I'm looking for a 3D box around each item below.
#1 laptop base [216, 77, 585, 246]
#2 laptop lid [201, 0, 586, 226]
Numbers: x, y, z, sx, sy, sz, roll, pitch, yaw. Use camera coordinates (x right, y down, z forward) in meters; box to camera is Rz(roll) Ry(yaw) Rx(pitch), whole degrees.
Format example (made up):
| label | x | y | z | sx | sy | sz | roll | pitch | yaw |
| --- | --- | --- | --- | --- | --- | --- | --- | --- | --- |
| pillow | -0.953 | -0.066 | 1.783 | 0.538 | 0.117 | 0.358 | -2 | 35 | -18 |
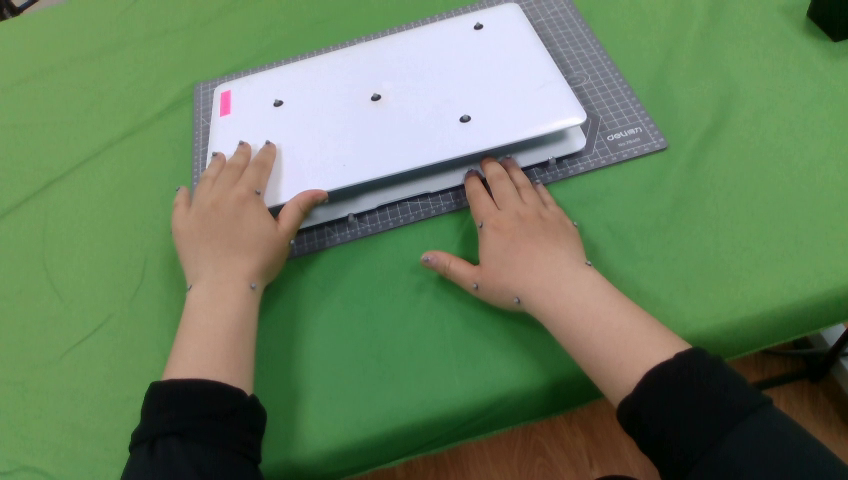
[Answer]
| label | x | y | z | sx | sy | sz | roll | pitch | yaw |
| --- | --- | --- | --- | --- | --- | --- | --- | --- | --- |
| laptop base | -0.043 | -0.127 | 0.622 | 0.354 | 0.023 | 0.233 | -16 | 56 | 1 |
| laptop lid | -0.047 | -0.140 | 0.601 | 0.357 | 0.013 | 0.239 | -15 | 48 | 2 |
